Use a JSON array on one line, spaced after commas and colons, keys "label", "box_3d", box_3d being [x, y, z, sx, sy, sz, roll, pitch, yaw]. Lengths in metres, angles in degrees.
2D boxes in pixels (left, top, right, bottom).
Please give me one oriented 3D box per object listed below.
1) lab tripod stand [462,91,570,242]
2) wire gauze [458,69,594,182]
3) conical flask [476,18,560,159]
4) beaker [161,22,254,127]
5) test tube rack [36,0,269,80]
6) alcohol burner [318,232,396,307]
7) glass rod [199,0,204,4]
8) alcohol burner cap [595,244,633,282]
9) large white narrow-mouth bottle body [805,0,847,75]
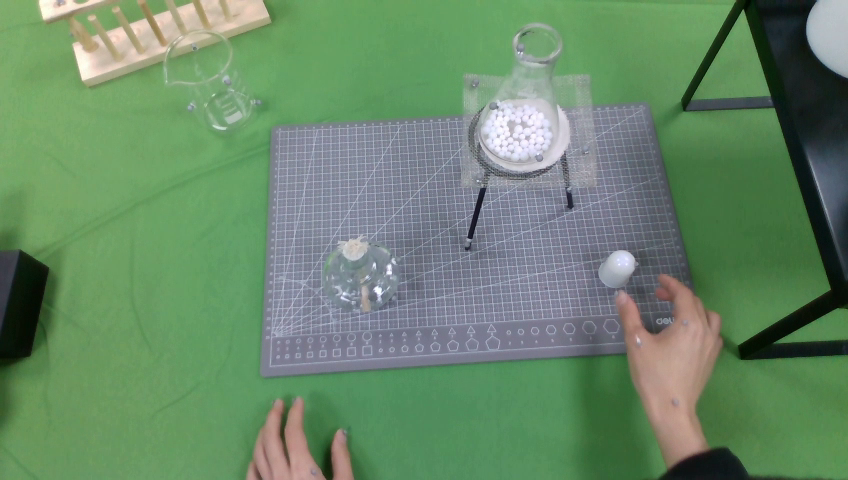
[{"label": "lab tripod stand", "box_3d": [0.088, -0.077, 0.617, 0.148, 0.132, 0.147, 0, 66, 0]}, {"label": "wire gauze", "box_3d": [0.093, -0.107, 0.558, 0.121, 0.011, 0.124, 2, 65, 0]}, {"label": "conical flask", "box_3d": [0.083, -0.127, 0.502, 0.075, 0.123, 0.075, 0, 67, 1]}, {"label": "beaker", "box_3d": [-0.243, -0.181, 0.689, 0.073, 0.101, 0.084, 41, 74, 17]}, {"label": "test tube rack", "box_3d": [-0.325, -0.287, 0.742, 0.242, 0.086, 0.066, -22, 69, -8]}, {"label": "alcohol burner", "box_3d": [-0.066, 0.023, 0.590, 0.078, 0.120, 0.077, 0, 66, 0]}, {"label": "glass rod", "box_3d": [-0.281, -0.348, 0.694, 0.008, 0.201, 0.008, 2, 65, -3]}, {"label": "alcohol burner cap", "box_3d": [0.197, 0.021, 0.624, 0.034, 0.048, 0.033, 0, 68, 1]}, {"label": "large white narrow-mouth bottle body", "box_3d": [0.379, -0.216, 0.445, 0.102, 0.196, 0.101, 0, 65, 1]}]
